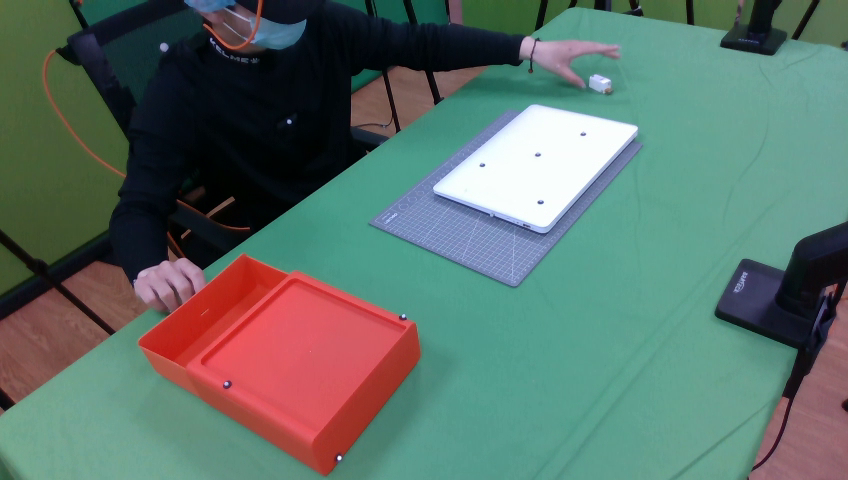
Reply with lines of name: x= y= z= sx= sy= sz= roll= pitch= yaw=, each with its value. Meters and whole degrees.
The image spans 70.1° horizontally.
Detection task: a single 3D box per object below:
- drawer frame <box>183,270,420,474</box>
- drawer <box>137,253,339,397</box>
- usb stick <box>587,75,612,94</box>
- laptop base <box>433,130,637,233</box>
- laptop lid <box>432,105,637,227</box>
drawer frame: x=-0.149 y=0.153 z=0.767 sx=0.212 sy=0.083 sz=0.202 roll=20 pitch=46 yaw=27
drawer: x=-0.231 y=0.127 z=0.811 sx=0.210 sy=0.073 sz=0.195 roll=19 pitch=45 yaw=27
usb stick: x=0.381 y=-0.333 z=1.303 sx=0.021 sy=0.027 sz=0.058 roll=-24 pitch=46 yaw=-24
laptop base: x=0.210 y=-0.142 z=1.111 sx=0.233 sy=0.023 sz=0.355 roll=21 pitch=47 yaw=33
laptop lid: x=0.207 y=-0.152 z=1.105 sx=0.239 sy=0.013 sz=0.358 roll=23 pitch=49 yaw=34
